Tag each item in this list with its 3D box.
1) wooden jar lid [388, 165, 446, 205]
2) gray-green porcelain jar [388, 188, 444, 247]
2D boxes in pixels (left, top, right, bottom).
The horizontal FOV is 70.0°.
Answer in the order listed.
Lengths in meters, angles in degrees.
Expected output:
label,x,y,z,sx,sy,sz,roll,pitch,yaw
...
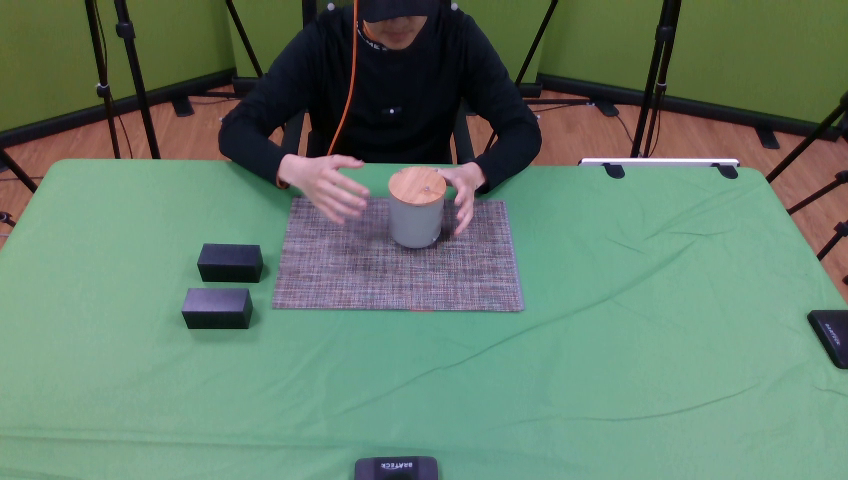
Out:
label,x,y,z,sx,sy,sz,roll,pitch,yaw
wooden jar lid,-0.013,-0.099,1.127,0.108,0.021,0.107,1,45,-1
gray-green porcelain jar,-0.016,-0.057,1.172,0.106,0.127,0.105,2,47,-2
